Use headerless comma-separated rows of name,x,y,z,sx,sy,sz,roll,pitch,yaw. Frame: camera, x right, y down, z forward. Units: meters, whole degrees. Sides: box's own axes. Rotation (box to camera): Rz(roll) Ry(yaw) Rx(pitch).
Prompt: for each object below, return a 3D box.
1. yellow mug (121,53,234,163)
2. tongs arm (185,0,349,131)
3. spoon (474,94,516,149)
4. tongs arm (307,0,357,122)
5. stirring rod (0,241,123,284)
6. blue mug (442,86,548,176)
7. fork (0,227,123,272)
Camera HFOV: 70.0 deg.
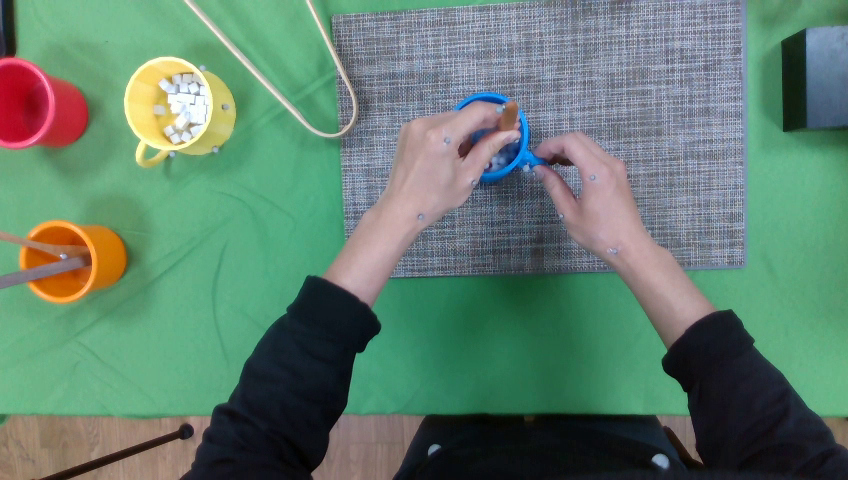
yellow mug,-0.284,-0.140,0.681,0.100,0.064,0.131,36,97,0
tongs arm,-0.230,-0.261,0.662,0.051,0.026,0.386,-41,98,3
spoon,0.070,-0.105,0.556,0.041,0.193,0.021,-9,92,2
tongs arm,-0.161,-0.310,0.655,0.028,0.027,0.389,-27,99,-2
stirring rod,-0.427,0.031,0.670,0.176,0.006,0.014,-20,89,-36
blue mug,0.077,-0.103,0.635,0.116,0.106,0.082,27,96,1
fork,-0.438,-0.003,0.662,0.209,0.018,0.028,24,92,-41
